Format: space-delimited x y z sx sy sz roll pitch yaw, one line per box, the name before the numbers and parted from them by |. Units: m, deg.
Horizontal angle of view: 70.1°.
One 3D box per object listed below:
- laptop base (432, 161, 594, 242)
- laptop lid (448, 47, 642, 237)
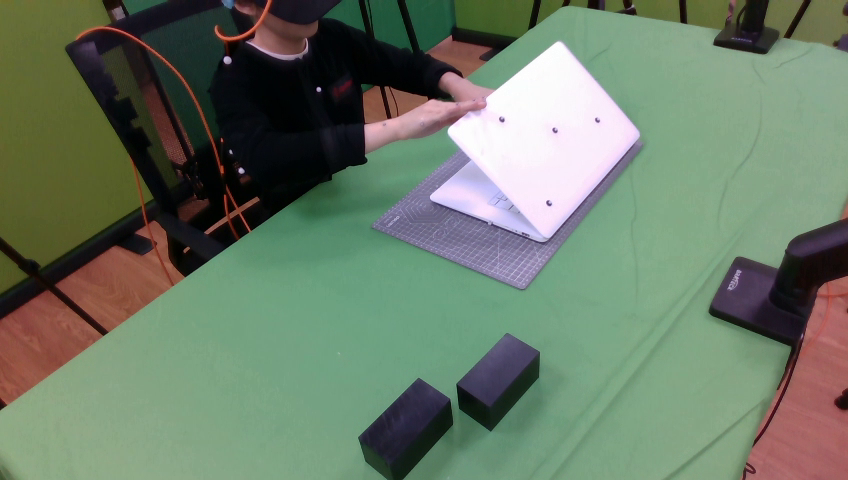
laptop base | 0.208 -0.128 1.098 0.233 0.023 0.355 20 47 34
laptop lid | 0.221 -0.183 1.029 0.241 0.013 0.358 48 56 2
